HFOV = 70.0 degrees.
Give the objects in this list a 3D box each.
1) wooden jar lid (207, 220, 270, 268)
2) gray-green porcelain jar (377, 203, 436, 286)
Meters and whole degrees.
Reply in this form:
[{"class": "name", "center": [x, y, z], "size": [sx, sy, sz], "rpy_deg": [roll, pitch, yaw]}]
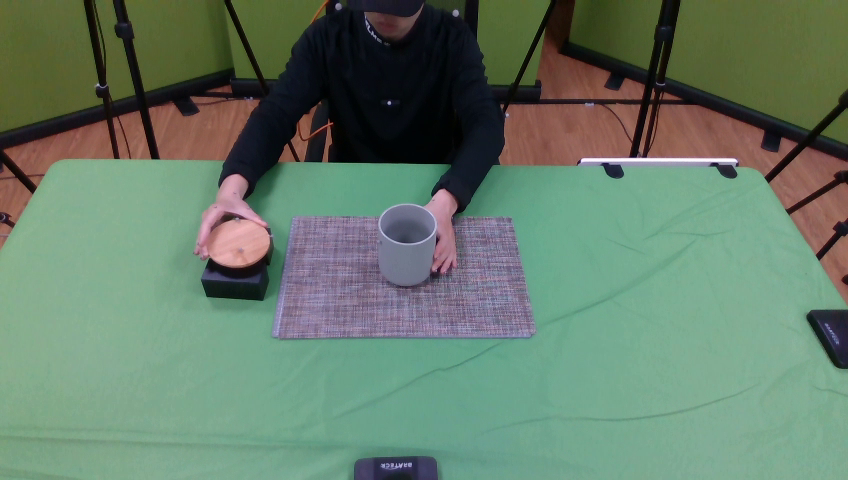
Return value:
[{"class": "wooden jar lid", "center": [-0.333, 0.009, 1.089], "size": [0.108, 0.021, 0.107], "rpy_deg": [5, 48, -5]}, {"class": "gray-green porcelain jar", "center": [-0.033, 0.014, 1.106], "size": [0.106, 0.127, 0.105], "rpy_deg": [2, 46, -2]}]
